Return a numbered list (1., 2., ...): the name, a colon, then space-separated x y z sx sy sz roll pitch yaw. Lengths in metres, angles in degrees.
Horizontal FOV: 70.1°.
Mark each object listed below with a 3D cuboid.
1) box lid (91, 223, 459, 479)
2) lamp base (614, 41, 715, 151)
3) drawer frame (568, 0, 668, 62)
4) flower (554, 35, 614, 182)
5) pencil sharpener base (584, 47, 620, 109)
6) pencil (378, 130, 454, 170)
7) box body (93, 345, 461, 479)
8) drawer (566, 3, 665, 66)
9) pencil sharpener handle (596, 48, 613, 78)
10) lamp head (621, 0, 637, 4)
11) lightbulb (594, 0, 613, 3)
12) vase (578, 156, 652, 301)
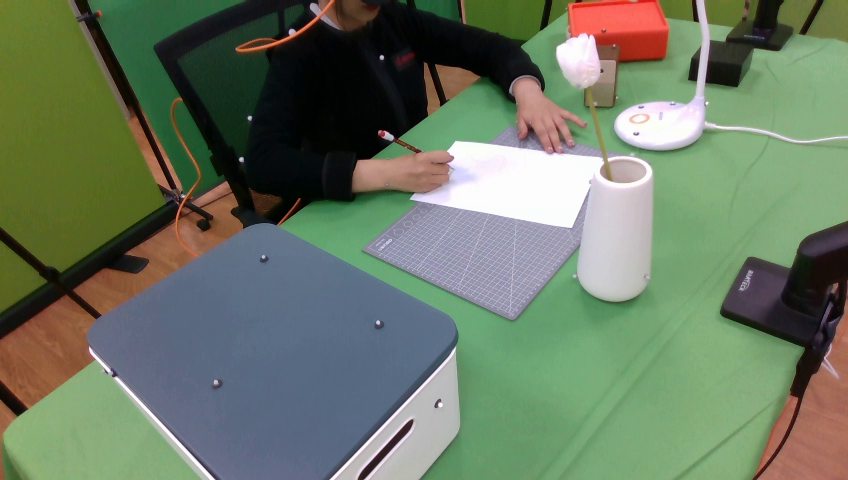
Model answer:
1. box lid: -0.174 0.103 0.667 0.368 0.015 0.264 24 48 35
2. lamp base: 0.449 -0.277 1.106 0.179 0.181 0.160 1 41 9
3. drawer frame: 0.450 -0.495 1.441 0.213 0.083 0.201 -1 40 9
4. flower: 0.237 -0.083 0.774 0.044 0.363 0.038 -22 26 7
5. pencil sharpener base: 0.367 -0.336 1.249 0.061 0.107 0.076 6 42 19
6. pencil: -0.009 -0.157 1.079 0.012 0.196 0.012 -16 65 40
7. box body: -0.162 0.170 0.708 0.361 0.161 0.255 25 50 34
8. drawer: 0.447 -0.493 1.440 0.211 0.073 0.194 0 40 10
9. pencil sharpener handle: 0.382 -0.378 1.276 0.036 0.068 0.030 4 41 21
10. lamp head: 0.319 -0.453 0.962 0.113 0.123 0.112 20 33 -13
11. lightbulb: 0.305 -0.438 0.978 0.060 0.107 0.059 13 43 -11
12. vase: 0.261 -0.011 0.812 0.098 0.201 0.097 -4 40 4
